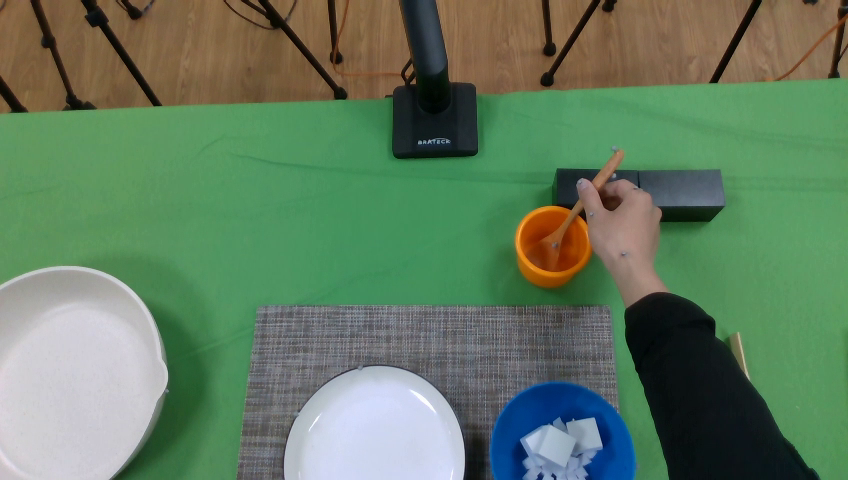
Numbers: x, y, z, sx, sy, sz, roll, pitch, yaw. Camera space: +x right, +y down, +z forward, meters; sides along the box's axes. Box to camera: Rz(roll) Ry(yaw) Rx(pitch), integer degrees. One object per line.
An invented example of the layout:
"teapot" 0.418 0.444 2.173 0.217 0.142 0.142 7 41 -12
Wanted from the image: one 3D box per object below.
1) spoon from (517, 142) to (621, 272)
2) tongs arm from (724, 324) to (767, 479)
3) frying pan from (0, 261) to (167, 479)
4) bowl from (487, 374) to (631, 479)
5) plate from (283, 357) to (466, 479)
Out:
"spoon" 0.173 -0.036 0.724 0.041 0.022 0.194 47 125 23
"tongs arm" 0.385 0.282 0.665 0.028 0.028 0.384 -6 71 0
"frying pan" -0.447 0.263 0.685 0.307 0.103 0.483 -3 62 4
"bowl" 0.143 0.228 0.667 0.151 0.077 0.150 -1 70 3
"plate" -0.055 0.241 0.698 0.207 0.039 0.206 -1 71 4
